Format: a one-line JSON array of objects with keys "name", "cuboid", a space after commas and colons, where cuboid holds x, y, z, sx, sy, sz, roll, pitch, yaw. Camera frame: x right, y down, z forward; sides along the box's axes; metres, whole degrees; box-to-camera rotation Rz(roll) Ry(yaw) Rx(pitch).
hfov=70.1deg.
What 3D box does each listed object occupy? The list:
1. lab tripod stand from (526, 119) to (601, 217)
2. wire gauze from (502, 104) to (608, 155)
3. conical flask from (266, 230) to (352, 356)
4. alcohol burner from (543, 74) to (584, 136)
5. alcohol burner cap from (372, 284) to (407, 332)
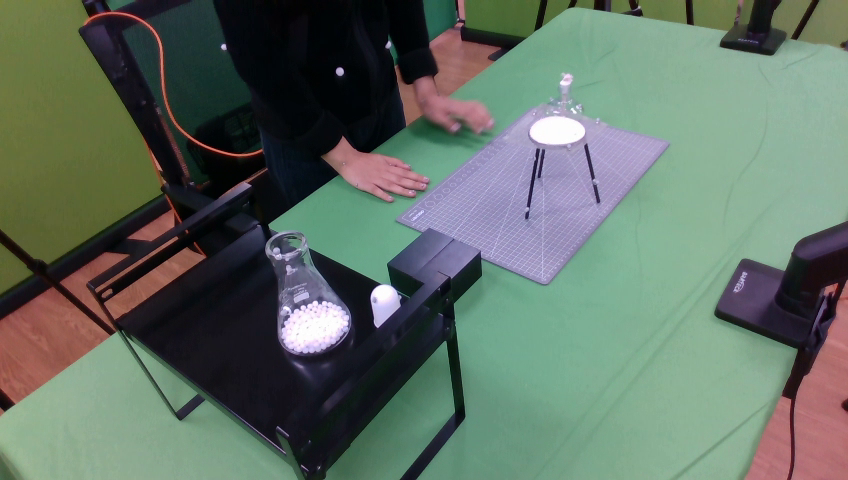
[{"name": "lab tripod stand", "cuboid": [0.220, -0.121, 0.994, 0.148, 0.132, 0.147, -3, 39, 3]}, {"name": "wire gauze", "cuboid": [0.207, -0.173, 0.953, 0.120, 0.011, 0.125, 24, 48, 31]}, {"name": "conical flask", "cuboid": [-0.117, 0.047, 0.580, 0.075, 0.122, 0.075, -5, 40, 4]}, {"name": "alcohol burner", "cuboid": [0.270, -0.263, 1.169, 0.078, 0.119, 0.077, -6, 39, 5]}, {"name": "alcohol burner cap", "cuboid": [-0.036, 0.066, 0.608, 0.034, 0.048, 0.033, -5, 38, 5]}]
